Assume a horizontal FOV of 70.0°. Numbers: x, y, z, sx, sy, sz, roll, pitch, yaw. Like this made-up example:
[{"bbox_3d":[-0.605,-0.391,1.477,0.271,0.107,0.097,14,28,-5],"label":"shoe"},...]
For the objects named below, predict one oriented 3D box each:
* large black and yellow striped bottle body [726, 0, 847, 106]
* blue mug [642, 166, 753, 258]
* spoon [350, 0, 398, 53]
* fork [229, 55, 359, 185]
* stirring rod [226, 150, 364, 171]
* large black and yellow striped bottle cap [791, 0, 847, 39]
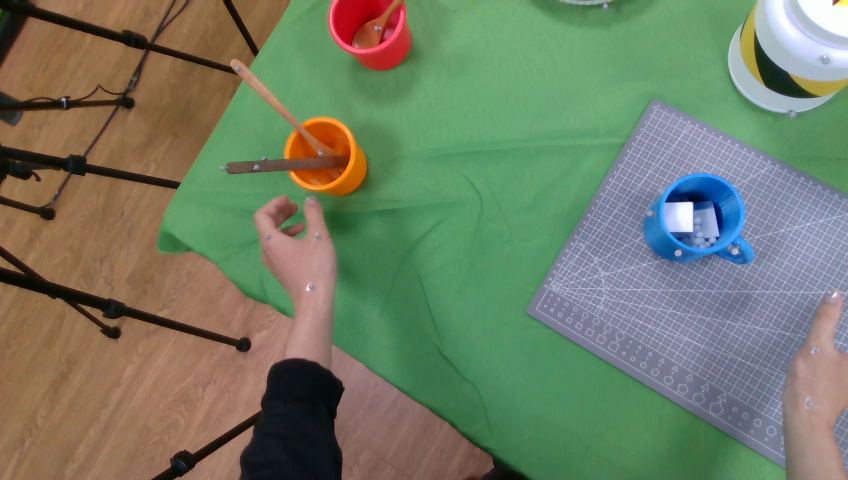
[{"bbox_3d":[0.402,-0.227,0.619,0.130,0.185,0.130,-1,84,11],"label":"large black and yellow striped bottle body"},{"bbox_3d":[0.301,-0.018,0.656,0.116,0.106,0.082,38,92,12],"label":"blue mug"},{"bbox_3d":[-0.036,-0.285,0.728,0.193,0.022,0.041,-26,72,52],"label":"spoon"},{"bbox_3d":[-0.154,-0.142,0.734,0.028,0.018,0.209,-43,122,3],"label":"fork"},{"bbox_3d":[-0.152,-0.097,0.735,0.177,0.006,0.014,-10,84,-33],"label":"stirring rod"},{"bbox_3d":[0.387,-0.237,0.537,0.115,0.019,0.115,-1,86,10],"label":"large black and yellow striped bottle cap"}]
